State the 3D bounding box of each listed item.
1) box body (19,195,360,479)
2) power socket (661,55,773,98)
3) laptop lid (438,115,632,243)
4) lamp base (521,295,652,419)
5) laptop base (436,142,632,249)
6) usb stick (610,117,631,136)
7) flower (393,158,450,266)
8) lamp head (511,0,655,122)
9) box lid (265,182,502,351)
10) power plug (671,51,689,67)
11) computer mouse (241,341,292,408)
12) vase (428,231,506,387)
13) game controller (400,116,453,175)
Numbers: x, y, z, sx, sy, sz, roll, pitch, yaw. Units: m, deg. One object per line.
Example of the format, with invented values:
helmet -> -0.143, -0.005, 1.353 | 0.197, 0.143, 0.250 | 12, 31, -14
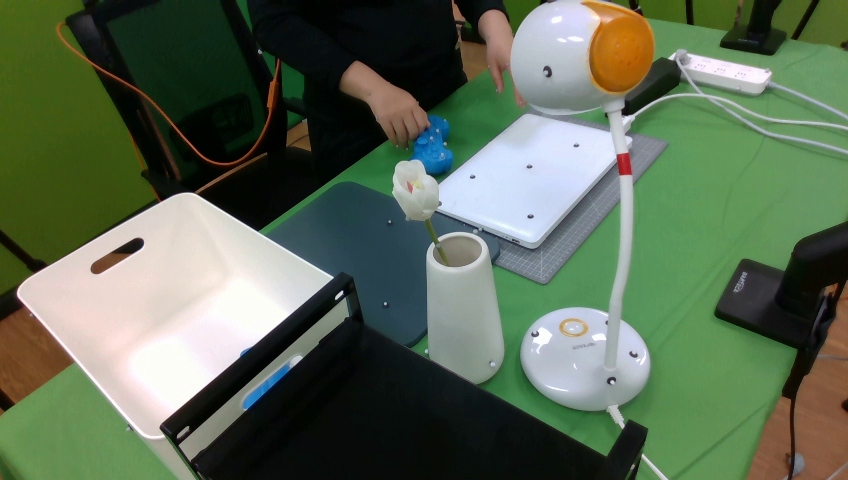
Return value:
box body -> -0.288, 0.118, 0.772 | 0.361, 0.161, 0.255 | 26, 50, 33
power socket -> 0.619, -0.352, 1.289 | 0.225, 0.033, 0.072 | 26, 51, 33
laptop lid -> 0.189, -0.126, 1.081 | 0.239, 0.013, 0.358 | 23, 49, 35
lamp base -> 0.201, 0.095, 0.710 | 0.161, 0.181, 0.178 | -16, 43, -10
laptop base -> 0.192, -0.117, 1.087 | 0.233, 0.023, 0.355 | 21, 48, 34
usb stick -> 0.369, -0.208, 1.147 | 0.021, 0.027, 0.059 | 25, 55, 33
flower -> 0.028, 0.036, 0.664 | 0.043, 0.364, 0.038 | 36, 73, 30
lamp head -> 0.155, -0.168, 0.563 | 0.113, 0.113, 0.122 | -18, 23, -12
box lid -> -0.087, 0.023, 0.971 | 0.368, 0.015, 0.264 | 23, 49, 31
power plug -> 0.541, -0.378, 1.301 | 0.073, 0.053, 0.035 | -33, 46, -24
computer mouse -> -0.201, 0.177, 0.776 | 0.063, 0.041, 0.116 | -11, 44, -8
vase -> 0.050, 0.087, 0.728 | 0.098, 0.201, 0.097 | -3, 40, 3
game controller -> 0.004, -0.181, 1.148 | 0.097, 0.052, 0.154 | 1, 48, -5
